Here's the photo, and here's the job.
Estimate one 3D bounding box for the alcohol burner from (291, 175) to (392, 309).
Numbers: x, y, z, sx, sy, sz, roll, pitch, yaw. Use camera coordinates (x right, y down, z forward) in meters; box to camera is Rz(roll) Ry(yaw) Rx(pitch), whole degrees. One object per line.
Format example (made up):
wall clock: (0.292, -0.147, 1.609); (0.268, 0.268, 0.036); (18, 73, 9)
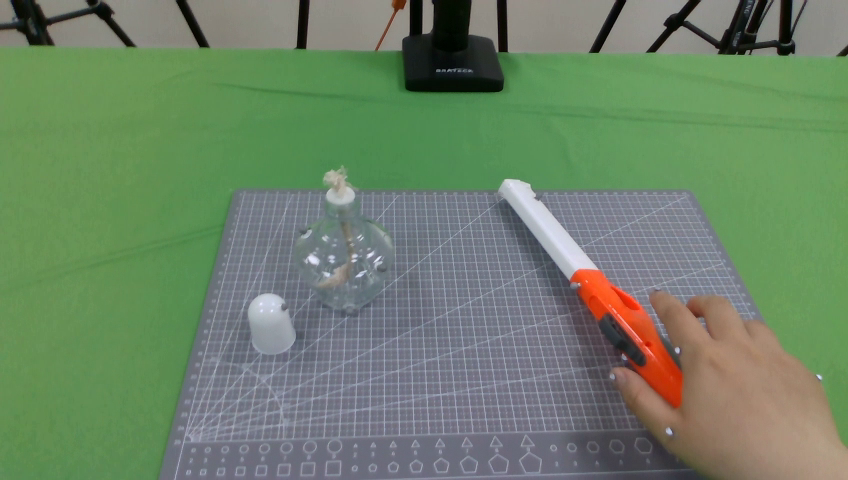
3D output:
alcohol burner: (-0.062, -0.003, 0.459); (0.078, 0.120, 0.077); (3, 46, -3)

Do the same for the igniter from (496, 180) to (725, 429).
igniter: (0.137, 0.037, 0.492); (0.057, 0.025, 0.273); (4, 38, -33)

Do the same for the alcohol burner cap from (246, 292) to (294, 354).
alcohol burner cap: (-0.114, 0.058, 0.444); (0.034, 0.048, 0.033); (2, 45, -2)
